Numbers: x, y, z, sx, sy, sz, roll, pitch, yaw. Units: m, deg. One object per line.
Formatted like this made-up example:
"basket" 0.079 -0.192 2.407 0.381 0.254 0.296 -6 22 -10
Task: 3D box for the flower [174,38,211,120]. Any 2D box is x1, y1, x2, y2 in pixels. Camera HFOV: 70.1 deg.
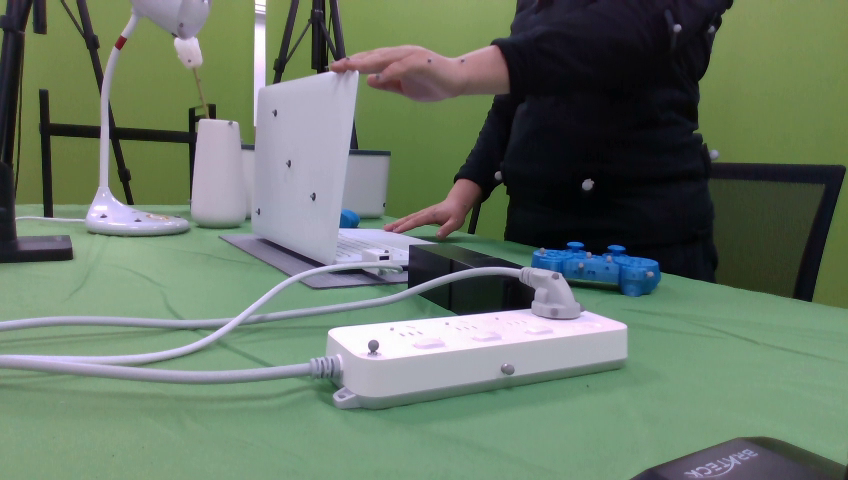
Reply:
"flower" -0.401 -0.207 1.141 0.038 0.361 0.044 -14 3 44

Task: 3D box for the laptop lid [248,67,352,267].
"laptop lid" -0.185 -0.105 0.838 0.013 0.241 0.355 3 8 -32

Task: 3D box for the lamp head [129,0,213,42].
"lamp head" -0.423 -0.394 0.980 0.123 0.112 0.112 20 7 -3

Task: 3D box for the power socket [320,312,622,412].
"power socket" 0.038 0.075 0.410 0.228 0.032 0.072 -2 8 -28

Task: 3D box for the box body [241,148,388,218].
"box body" -0.297 -0.143 1.475 0.366 0.160 0.253 -1 9 -30

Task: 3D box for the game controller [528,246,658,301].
"game controller" 0.202 0.037 0.733 0.155 0.051 0.097 5 10 20

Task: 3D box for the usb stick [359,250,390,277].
"usb stick" -0.062 0.026 0.708 0.021 0.027 0.059 -3 5 -28

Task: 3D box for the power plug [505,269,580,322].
"power plug" 0.092 0.051 0.470 0.035 0.052 0.072 0 6 -16

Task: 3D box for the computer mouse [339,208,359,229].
"computer mouse" -0.194 -0.046 1.241 0.117 0.041 0.063 0 9 12

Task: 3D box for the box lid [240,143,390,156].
"box lid" -0.295 -0.217 1.464 0.373 0.015 0.262 -1 8 -29

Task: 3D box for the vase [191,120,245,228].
"vase" -0.389 -0.124 1.143 0.098 0.200 0.098 3 9 0

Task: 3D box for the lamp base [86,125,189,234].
"lamp base" -0.497 -0.105 1.027 0.179 0.180 0.160 1 7 2

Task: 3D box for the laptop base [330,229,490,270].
"laptop base" -0.096 0.012 0.912 0.237 0.023 0.352 3 6 -32
